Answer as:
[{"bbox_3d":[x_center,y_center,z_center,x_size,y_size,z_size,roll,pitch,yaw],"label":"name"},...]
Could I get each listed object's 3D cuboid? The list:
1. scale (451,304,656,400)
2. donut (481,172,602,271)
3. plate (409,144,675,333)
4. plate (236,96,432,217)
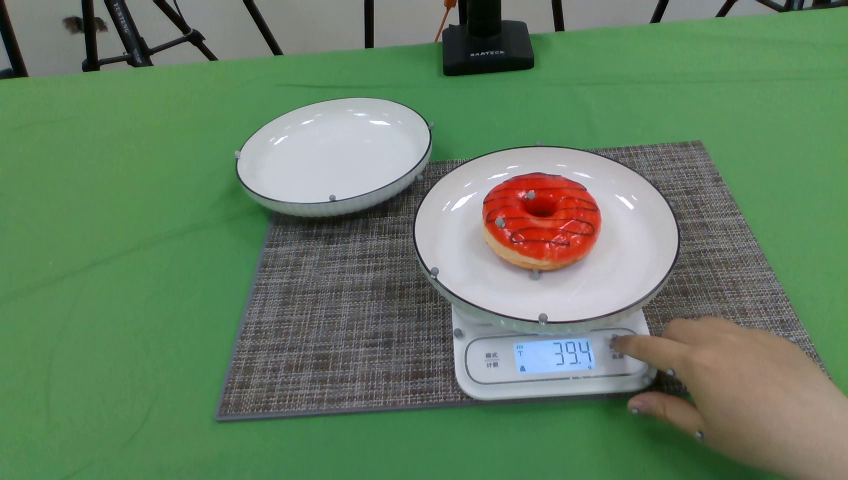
[{"bbox_3d":[0.096,0.036,0.502,0.148,0.032,0.199,-4,44,4],"label":"scale"},{"bbox_3d":[0.094,-0.015,0.491,0.099,0.049,0.098,-1,45,2],"label":"donut"},{"bbox_3d":[0.093,-0.003,0.496,0.207,0.039,0.205,-3,44,3],"label":"plate"},{"bbox_3d":[-0.094,-0.089,0.654,0.209,0.038,0.207,-4,42,4],"label":"plate"}]
